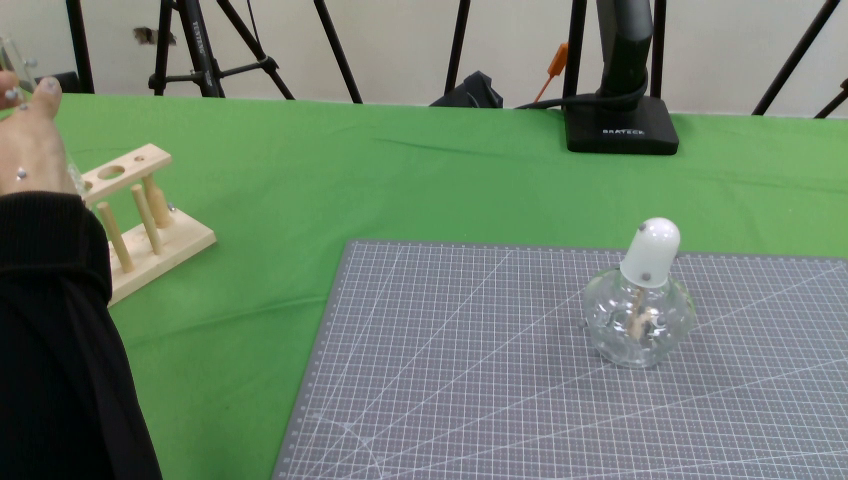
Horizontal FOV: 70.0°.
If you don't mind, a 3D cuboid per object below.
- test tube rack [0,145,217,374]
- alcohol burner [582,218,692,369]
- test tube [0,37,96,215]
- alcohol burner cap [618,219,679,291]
[{"bbox_3d":[-0.300,0.018,0.495,0.066,0.086,0.242,27,48,30],"label":"test tube rack"},{"bbox_3d":[0.154,0.035,0.432,0.078,0.120,0.077,-1,38,1],"label":"alcohol burner"},{"bbox_3d":[-0.288,-0.080,0.466,0.017,0.151,0.017,-2,40,2],"label":"test tube"},{"bbox_3d":[0.154,0.008,0.409,0.034,0.048,0.033,3,40,-2],"label":"alcohol burner cap"}]
